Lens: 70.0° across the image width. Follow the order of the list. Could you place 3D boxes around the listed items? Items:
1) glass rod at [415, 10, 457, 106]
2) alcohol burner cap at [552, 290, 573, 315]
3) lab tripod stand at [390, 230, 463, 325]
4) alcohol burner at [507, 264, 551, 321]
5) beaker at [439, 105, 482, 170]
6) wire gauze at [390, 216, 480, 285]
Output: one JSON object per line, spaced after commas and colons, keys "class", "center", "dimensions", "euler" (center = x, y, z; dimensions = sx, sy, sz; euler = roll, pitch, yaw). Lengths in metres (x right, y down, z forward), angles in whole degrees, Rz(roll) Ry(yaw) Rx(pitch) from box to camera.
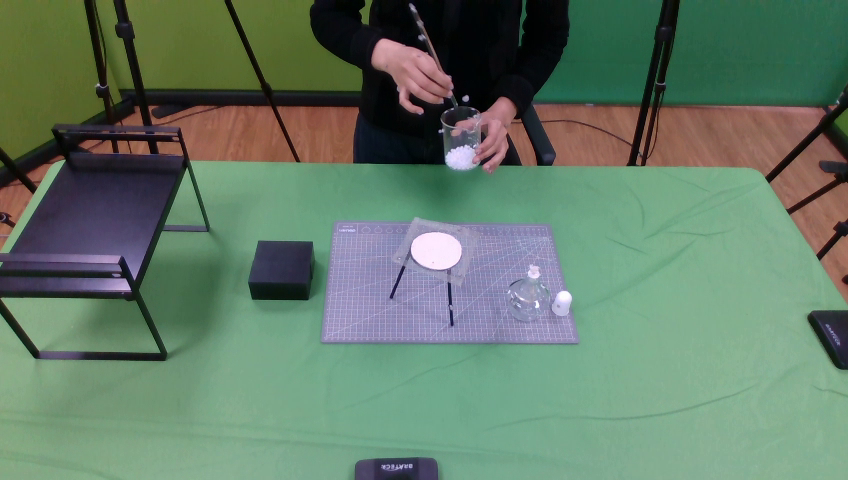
{"class": "glass rod", "center": [0.022, -0.295, 1.000], "dimensions": [0.008, 0.201, 0.008], "euler": [-12, 53, 16]}
{"class": "alcohol burner cap", "center": [0.251, 0.109, 1.088], "dimensions": [0.034, 0.048, 0.033], "euler": [3, 47, -2]}
{"class": "lab tripod stand", "center": [0.014, 0.060, 1.056], "dimensions": [0.148, 0.132, 0.147], "euler": [1, 48, -1]}
{"class": "alcohol burner", "center": [0.185, 0.086, 1.056], "dimensions": [0.078, 0.120, 0.077], "euler": [1, 47, 0]}
{"class": "beaker", "center": [0.072, -0.185, 1.114], "dimensions": [0.074, 0.101, 0.083], "euler": [-23, 46, -16]}
{"class": "wire gauze", "center": [0.020, 0.012, 1.009], "dimensions": [0.125, 0.011, 0.121], "euler": [16, 47, 12]}
